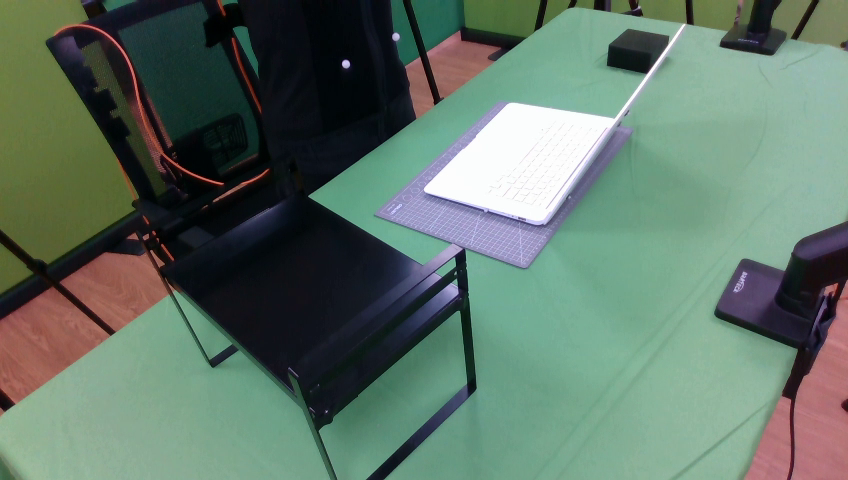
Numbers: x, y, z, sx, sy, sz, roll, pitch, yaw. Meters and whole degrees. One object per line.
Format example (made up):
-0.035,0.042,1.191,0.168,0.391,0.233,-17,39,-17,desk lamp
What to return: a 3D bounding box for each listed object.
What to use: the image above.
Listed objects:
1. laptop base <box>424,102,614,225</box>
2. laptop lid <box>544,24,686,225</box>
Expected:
0.188,-0.156,1.131,0.234,0.023,0.355,16,46,30,laptop base
0.314,-0.191,0.987,0.013,0.241,0.357,35,51,9,laptop lid
